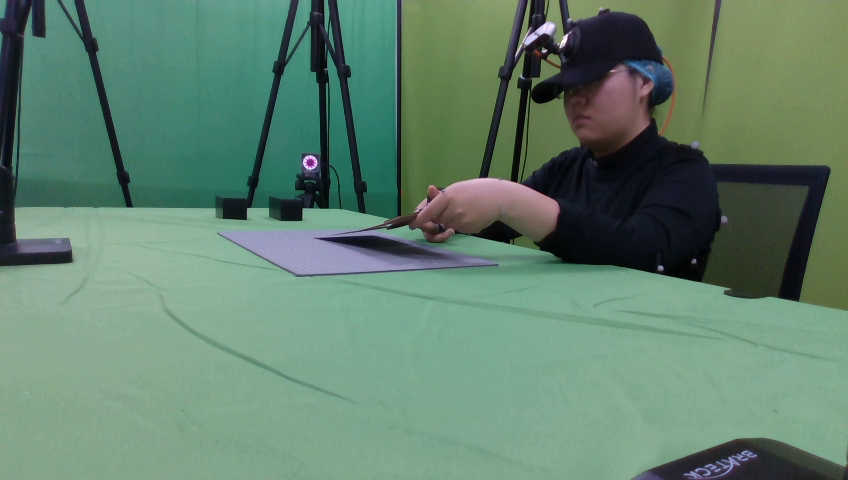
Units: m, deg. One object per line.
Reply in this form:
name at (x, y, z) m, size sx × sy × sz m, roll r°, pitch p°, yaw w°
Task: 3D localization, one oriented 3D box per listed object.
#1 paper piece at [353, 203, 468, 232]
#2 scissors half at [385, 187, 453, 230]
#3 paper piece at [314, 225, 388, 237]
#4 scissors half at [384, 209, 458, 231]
paper piece at (-0.023, -0.036, 0.947) m, size 0.136 × 0.008 × 0.137 m, roll -20°, pitch 7°, yaw -36°
scissors half at (-0.008, -0.053, 1.059) m, size 0.013 × 0.040 × 0.176 m, roll -18°, pitch 13°, yaw 47°
paper piece at (-0.107, -0.020, 1.055) m, size 0.136 × 0.004 × 0.135 m, roll -8°, pitch -1°, yaw -40°
scissors half at (-0.003, -0.033, 1.060) m, size 0.176 × 0.040 × 0.012 m, roll -5°, pitch -3°, yaw -43°
